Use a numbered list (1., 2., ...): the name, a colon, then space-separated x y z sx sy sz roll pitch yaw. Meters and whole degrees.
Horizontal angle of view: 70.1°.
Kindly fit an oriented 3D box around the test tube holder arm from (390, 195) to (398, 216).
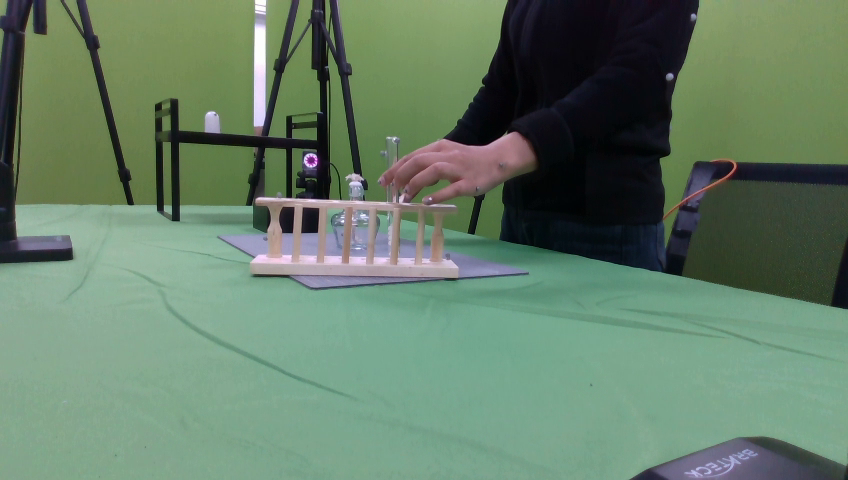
1. test tube holder arm: -0.048 -0.060 1.013 0.010 0.015 0.088 -5 19 5

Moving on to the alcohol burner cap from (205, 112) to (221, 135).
1. alcohol burner cap: -0.443 -0.245 1.270 0.034 0.048 0.034 3 8 0

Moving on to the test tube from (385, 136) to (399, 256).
1. test tube: -0.039 -0.052 0.745 0.017 0.150 0.017 -1 9 0

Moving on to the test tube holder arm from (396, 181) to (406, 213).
1. test tube holder arm: -0.041 -0.075 1.055 0.013 0.015 0.178 -5 19 5

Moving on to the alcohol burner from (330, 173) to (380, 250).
1. alcohol burner: -0.108 -0.044 0.938 0.078 0.119 0.078 1 6 0

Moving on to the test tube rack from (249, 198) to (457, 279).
1. test tube rack: -0.082 -0.003 0.732 0.243 0.085 0.066 2 8 -8
